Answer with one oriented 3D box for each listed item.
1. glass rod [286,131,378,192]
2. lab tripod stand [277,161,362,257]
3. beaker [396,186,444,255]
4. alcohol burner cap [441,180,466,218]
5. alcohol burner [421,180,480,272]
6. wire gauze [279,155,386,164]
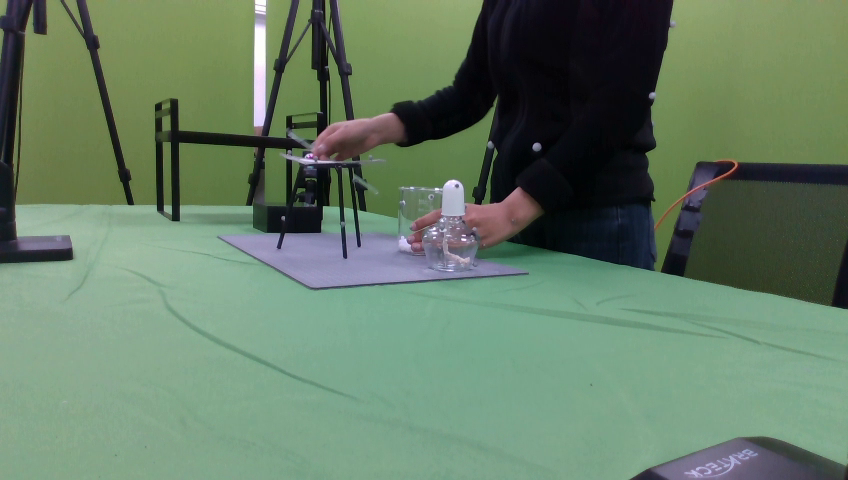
[{"bbox_3d":[-0.171,-0.147,1.135,0.200,0.008,0.008,33,3,-11],"label":"glass rod"},{"bbox_3d":[-0.143,-0.049,0.884,0.148,0.131,0.148,1,9,0],"label":"lab tripod stand"},{"bbox_3d":[-0.003,-0.030,0.920,0.083,0.100,0.074,7,9,32],"label":"beaker"},{"bbox_3d":[0.038,-0.053,0.781,0.034,0.048,0.034,0,12,0],"label":"alcohol burner cap"},{"bbox_3d":[0.035,-0.018,0.785,0.078,0.119,0.078,4,6,0],"label":"alcohol burner"},{"bbox_3d":[-0.134,-0.114,0.875,0.122,0.011,0.124,-2,9,-30],"label":"wire gauze"}]
